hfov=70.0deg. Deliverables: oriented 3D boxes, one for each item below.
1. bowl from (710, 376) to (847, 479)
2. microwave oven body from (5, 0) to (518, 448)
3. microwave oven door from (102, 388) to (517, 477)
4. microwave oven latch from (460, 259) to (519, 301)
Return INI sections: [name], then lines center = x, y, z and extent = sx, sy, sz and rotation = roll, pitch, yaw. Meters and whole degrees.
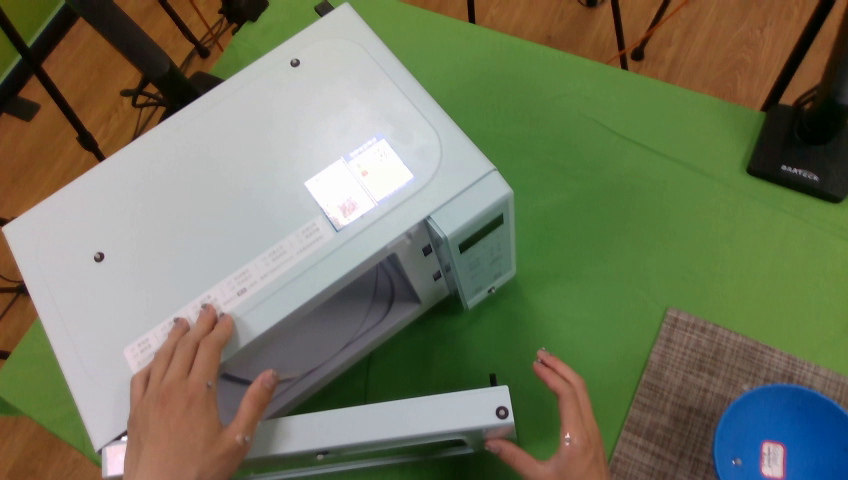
[bowl]
center = 0.370, 0.224, 0.633
extent = 0.151, 0.077, 0.150
rotation = -3, 67, 8
[microwave oven body]
center = -0.161, 0.001, 0.706
extent = 0.441, 0.262, 0.323
rotation = -36, 68, -5
[microwave oven door]
center = -0.086, 0.198, 0.609
extent = 0.356, 0.246, 0.039
rotation = -9, 68, 5
[microwave oven latch]
center = 0.081, 0.042, 0.758
extent = 0.079, 0.030, 0.030
rotation = -34, 68, -5
